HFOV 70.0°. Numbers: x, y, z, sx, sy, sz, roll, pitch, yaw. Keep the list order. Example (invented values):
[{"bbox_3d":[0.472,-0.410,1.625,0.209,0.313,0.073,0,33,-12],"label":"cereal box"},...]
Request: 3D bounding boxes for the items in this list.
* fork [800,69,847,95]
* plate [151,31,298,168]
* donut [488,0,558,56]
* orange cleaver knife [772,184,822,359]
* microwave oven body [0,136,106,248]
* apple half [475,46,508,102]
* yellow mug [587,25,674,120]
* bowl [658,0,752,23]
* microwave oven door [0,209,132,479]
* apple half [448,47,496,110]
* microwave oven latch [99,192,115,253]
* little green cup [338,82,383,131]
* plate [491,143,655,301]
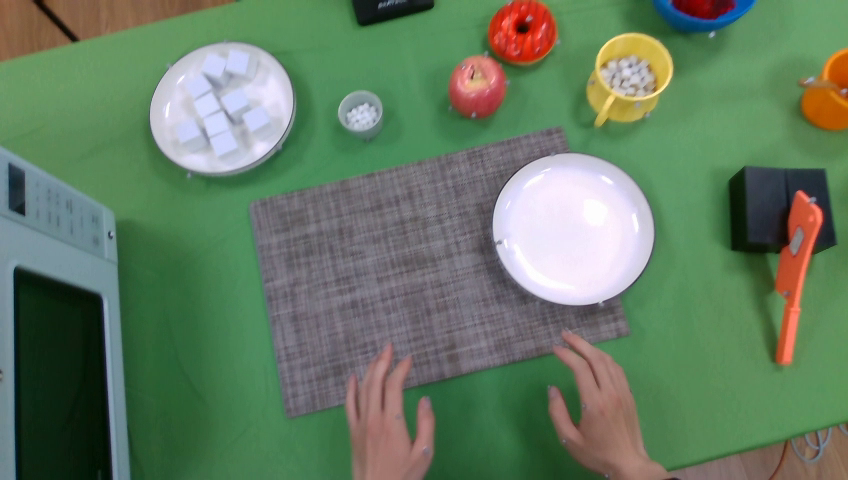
[{"bbox_3d":[0.511,-0.200,0.758,0.208,0.018,0.028,-6,71,-43],"label":"fork"},{"bbox_3d":[-0.280,-0.197,0.864,0.207,0.039,0.206,-1,76,3],"label":"plate"},{"bbox_3d":[0.141,-0.310,0.864,0.099,0.048,0.098,-1,79,5],"label":"donut"},{"bbox_3d":[0.446,0.039,0.738,0.012,0.077,0.212,5,106,8],"label":"orange cleaver knife"},{"bbox_3d":[-0.553,0.150,0.675,0.326,0.261,0.439,-11,76,0],"label":"microwave oven body"},{"bbox_3d":[0.097,-0.230,0.830,0.033,0.082,0.081,-23,75,3],"label":"apple half"},{"bbox_3d":[0.270,-0.218,0.821,0.099,0.064,0.130,33,81,11],"label":"yellow mug"},{"bbox_3d":[0.383,-0.358,0.843,0.151,0.077,0.150,-1,76,4],"label":"bowl"},{"bbox_3d":[-0.403,0.162,0.658,0.039,0.245,0.353,-11,75,1],"label":"microwave oven door"},{"bbox_3d":[0.061,-0.214,0.830,0.053,0.075,0.080,-23,79,2],"label":"apple half"},{"bbox_3d":[-0.433,-0.021,0.810,0.030,0.029,0.078,-9,76,1],"label":"microwave oven latch"},{"bbox_3d":[-0.086,-0.184,0.849,0.061,0.039,0.061,-1,76,4],"label":"little green cup"},{"bbox_3d":[0.190,-0.022,0.788,0.209,0.038,0.208,-1,76,4],"label":"plate"}]
